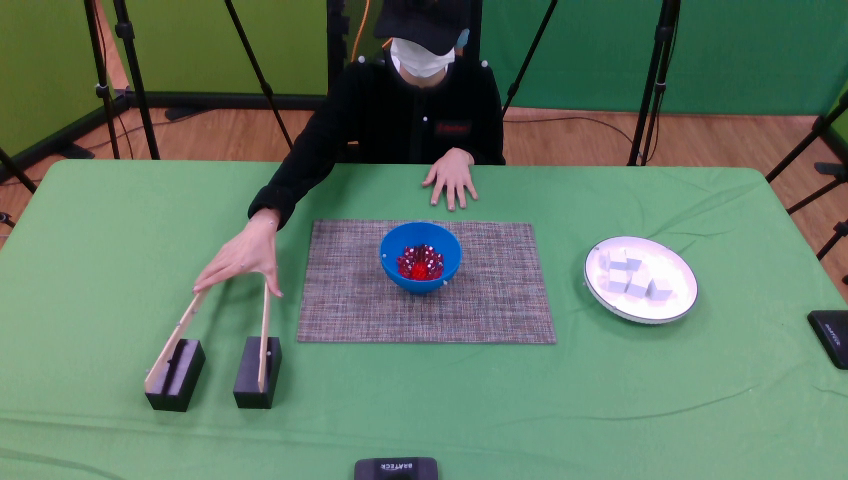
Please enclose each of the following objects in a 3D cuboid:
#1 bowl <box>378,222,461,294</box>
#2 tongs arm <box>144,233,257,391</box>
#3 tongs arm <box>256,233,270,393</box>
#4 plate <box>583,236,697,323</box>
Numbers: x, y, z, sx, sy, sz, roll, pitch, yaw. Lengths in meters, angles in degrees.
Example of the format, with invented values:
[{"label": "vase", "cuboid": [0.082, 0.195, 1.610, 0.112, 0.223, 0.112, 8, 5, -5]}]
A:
[{"label": "bowl", "cuboid": [-0.010, 0.046, 1.110, 0.151, 0.077, 0.150, 3, 45, -2]}, {"label": "tongs arm", "cuboid": [-0.361, 0.102, 1.019, 0.051, 0.026, 0.382, 3, 34, 2]}, {"label": "tongs arm", "cuboid": [-0.276, 0.105, 1.024, 0.028, 0.028, 0.385, -8, 36, -8]}, {"label": "plate", "cuboid": [0.403, 0.078, 1.144, 0.209, 0.038, 0.208, 2, 45, -2]}]
